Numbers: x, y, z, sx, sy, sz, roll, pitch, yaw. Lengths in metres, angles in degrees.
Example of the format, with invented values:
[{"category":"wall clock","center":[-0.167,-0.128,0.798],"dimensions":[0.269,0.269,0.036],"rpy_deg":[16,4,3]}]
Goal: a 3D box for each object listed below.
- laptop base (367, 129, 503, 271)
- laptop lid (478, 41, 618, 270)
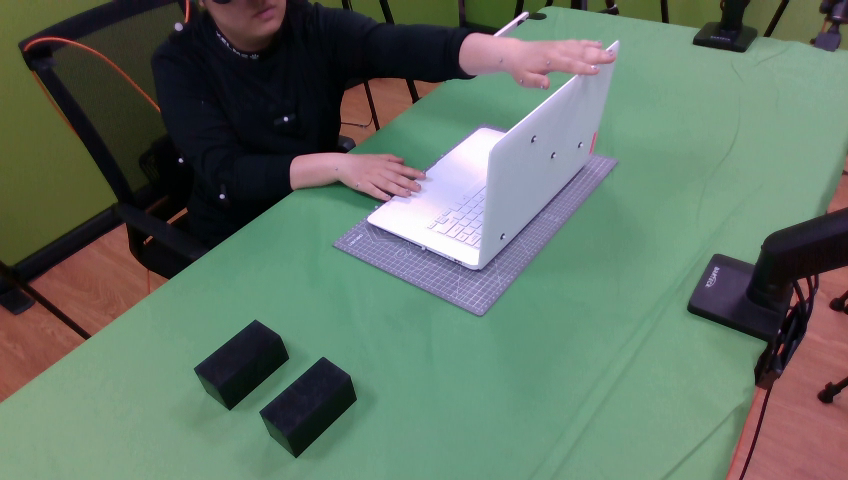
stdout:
[{"category":"laptop base","center":[0.099,-0.085,1.058],"dimensions":[0.233,0.023,0.355],"rpy_deg":[21,48,34]},{"category":"laptop lid","center":[0.191,-0.130,0.912],"dimensions":[0.013,0.242,0.358],"rpy_deg":[29,50,26]}]
